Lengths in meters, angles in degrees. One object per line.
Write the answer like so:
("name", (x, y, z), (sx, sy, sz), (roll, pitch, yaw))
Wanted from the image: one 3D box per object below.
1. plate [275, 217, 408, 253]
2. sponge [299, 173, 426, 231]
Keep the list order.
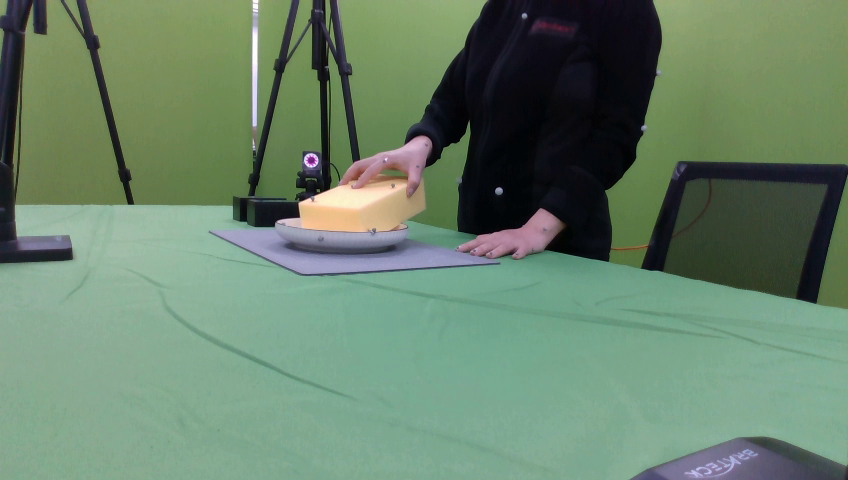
("plate", (-0.129, -0.009, 0.954), (0.209, 0.038, 0.209), (2, 7, 0))
("sponge", (-0.097, -0.057, 1.011), (0.118, 0.061, 0.207), (6, 21, 27))
